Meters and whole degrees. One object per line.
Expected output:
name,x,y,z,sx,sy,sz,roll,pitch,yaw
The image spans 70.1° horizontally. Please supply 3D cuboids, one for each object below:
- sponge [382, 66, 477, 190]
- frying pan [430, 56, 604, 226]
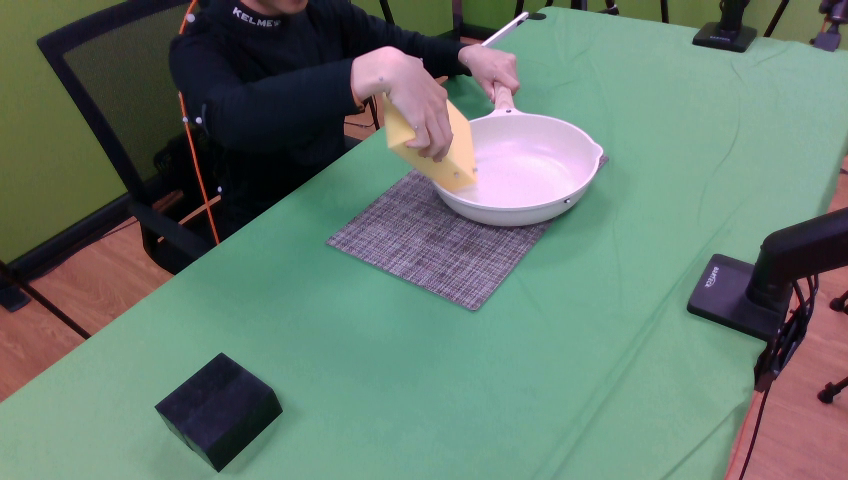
sponge,0.013,-0.171,0.968,0.060,0.208,0.117,-14,70,24
frying pan,0.155,-0.199,1.111,0.307,0.103,0.485,-1,49,5
